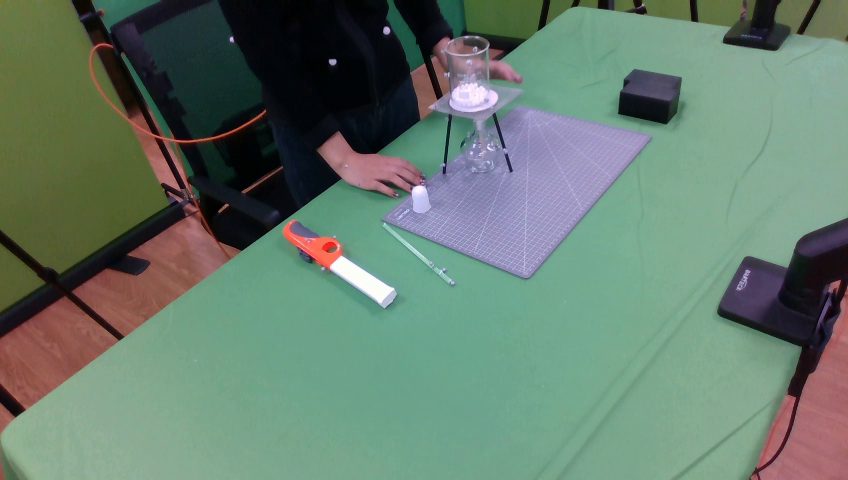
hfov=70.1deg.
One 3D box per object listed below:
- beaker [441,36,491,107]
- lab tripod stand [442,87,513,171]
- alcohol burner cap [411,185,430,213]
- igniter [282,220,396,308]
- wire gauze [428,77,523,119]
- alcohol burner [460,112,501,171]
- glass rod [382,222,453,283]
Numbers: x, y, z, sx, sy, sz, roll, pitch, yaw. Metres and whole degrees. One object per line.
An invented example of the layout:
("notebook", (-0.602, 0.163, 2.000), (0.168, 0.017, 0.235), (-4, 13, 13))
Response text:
("beaker", (0.074, -0.287, 1.036), (0.084, 0.101, 0.073), (-1, 41, 8))
("lab tripod stand", (0.097, -0.200, 1.108), (0.148, 0.132, 0.147), (-4, 40, 4))
("alcohol burner cap", (-0.008, -0.074, 1.050), (0.034, 0.048, 0.033), (-3, 42, 3))
("igniter", (-0.146, 0.032, 0.966), (0.274, 0.025, 0.057), (30, 64, 37))
("wire gauze", (0.090, -0.248, 1.063), (0.120, 0.011, 0.125), (24, 48, 30))
("alcohol burner", (0.103, -0.186, 1.106), (0.078, 0.119, 0.077), (-4, 42, 4))
("glass rod", (-0.014, 0.016, 0.976), (0.008, 0.008, 0.198), (-29, 44, -22))
